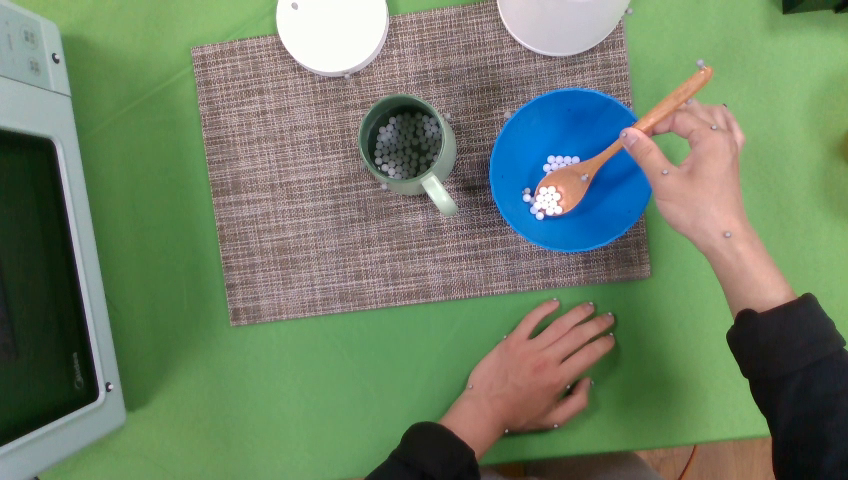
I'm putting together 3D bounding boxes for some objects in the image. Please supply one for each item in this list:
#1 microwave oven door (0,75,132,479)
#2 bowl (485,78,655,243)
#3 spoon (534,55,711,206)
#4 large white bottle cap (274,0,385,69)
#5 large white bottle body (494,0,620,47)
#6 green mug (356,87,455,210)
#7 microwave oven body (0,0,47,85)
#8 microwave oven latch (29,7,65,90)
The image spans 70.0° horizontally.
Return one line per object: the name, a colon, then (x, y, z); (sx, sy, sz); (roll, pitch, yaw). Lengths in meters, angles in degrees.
microwave oven door: (-0.371, 0.027, 0.535); (0.039, 0.244, 0.356); (-9, 93, 5)
bowl: (0.135, -0.074, 0.588); (0.151, 0.077, 0.151); (0, 94, 6)
spoon: (0.169, -0.091, 0.535); (0.041, 0.021, 0.194); (52, 134, 4)
large white bottle cap: (-0.097, -0.235, 0.624); (0.115, 0.018, 0.115); (0, 93, 4)
large white bottle body: (0.125, -0.259, 0.523); (0.130, 0.185, 0.130); (0, 89, 5)
green mug: (-0.009, -0.084, 0.584); (0.092, 0.105, 0.125); (-34, 90, 5)
microwave oven body: (-0.522, 0.008, 0.549); (0.326, 0.260, 0.442); (-9, 94, 4)
microwave oven latch: (-0.396, -0.194, 0.623); (0.030, 0.029, 0.079); (-9, 94, 4)
